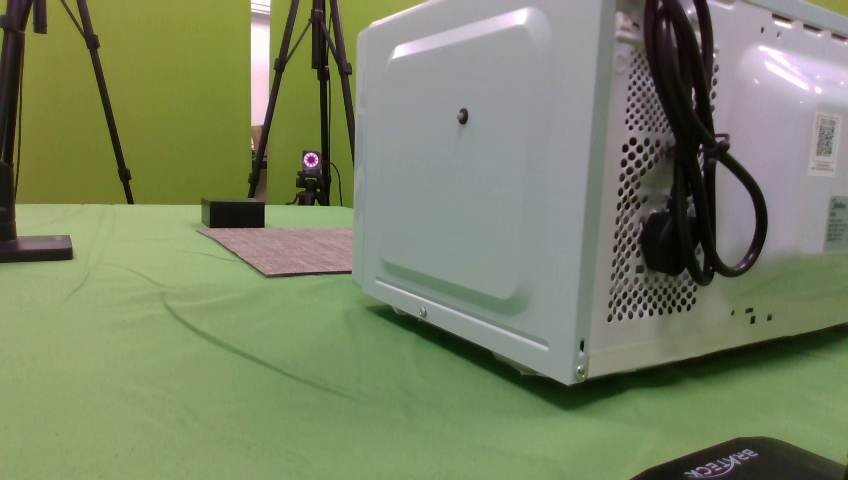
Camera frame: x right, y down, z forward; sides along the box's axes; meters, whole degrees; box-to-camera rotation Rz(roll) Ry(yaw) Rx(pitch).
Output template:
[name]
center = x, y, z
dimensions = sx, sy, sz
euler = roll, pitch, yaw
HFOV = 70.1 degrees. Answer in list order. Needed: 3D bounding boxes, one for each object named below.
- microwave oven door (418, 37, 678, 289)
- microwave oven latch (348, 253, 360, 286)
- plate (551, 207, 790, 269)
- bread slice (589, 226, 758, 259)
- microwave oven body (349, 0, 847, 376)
[microwave oven door]
center = 0.159, -0.079, 0.684
dimensions = 0.358, 0.243, 0.039
euler = -2, 9, -32
[microwave oven latch]
center = -0.034, 0.028, 0.581
dimensions = 0.079, 0.029, 0.030
euler = -1, 7, -32
[plate]
center = 0.224, -0.004, 0.572
dimensions = 0.209, 0.038, 0.209
euler = 4, 7, 0
[bread slice]
center = 0.226, 0.001, 0.568
dimensions = 0.132, 0.019, 0.104
euler = 4, 5, -23
[microwave oven body]
center = 0.199, -0.053, 0.540
dimensions = 0.444, 0.260, 0.324
euler = -1, 8, -32
